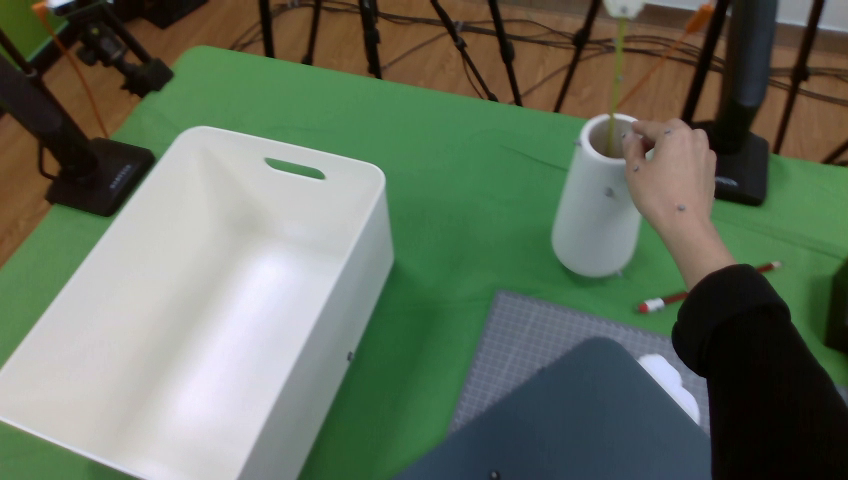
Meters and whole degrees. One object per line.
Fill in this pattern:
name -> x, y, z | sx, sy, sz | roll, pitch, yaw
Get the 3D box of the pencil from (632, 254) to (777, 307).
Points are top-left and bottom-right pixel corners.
pencil -> 0.335, 0.046, 0.717 | 0.194, 0.012, 0.012 | -17, 56, -9

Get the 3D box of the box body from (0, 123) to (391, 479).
box body -> -0.210, 0.075, 0.650 | 0.253, 0.162, 0.362 | 14, 58, 14

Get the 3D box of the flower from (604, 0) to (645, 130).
flower -> 0.186, -0.108, 0.619 | 0.044, 0.365, 0.038 | 8, 40, 15

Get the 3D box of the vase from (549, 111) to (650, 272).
vase -> 0.195, -0.049, 0.678 | 0.098, 0.202, 0.097 | -3, 54, 4

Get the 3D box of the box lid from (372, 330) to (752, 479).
box lid -> 0.121, 0.269, 0.580 | 0.371, 0.015, 0.260 | -31, 59, -14
